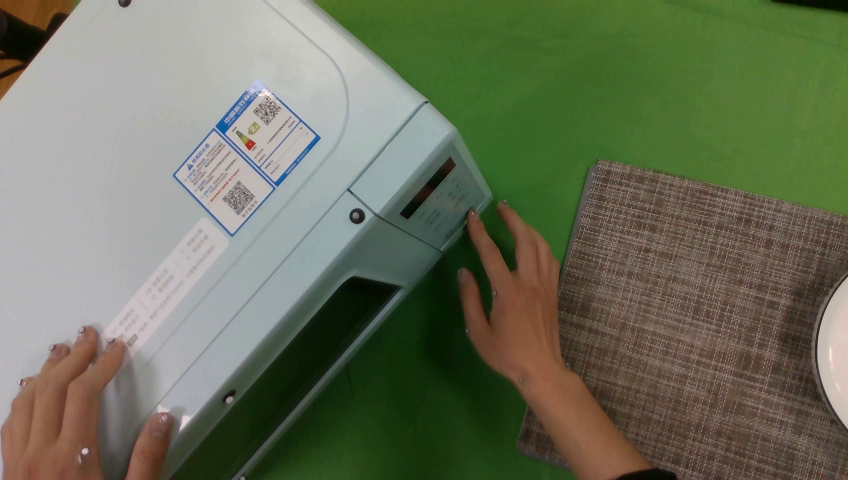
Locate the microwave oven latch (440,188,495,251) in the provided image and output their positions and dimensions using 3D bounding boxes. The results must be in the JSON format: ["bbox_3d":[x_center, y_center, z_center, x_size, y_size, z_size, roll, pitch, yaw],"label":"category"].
[{"bbox_3d":[0.037,-0.026,0.609,0.030,0.029,0.079,44,94,13],"label":"microwave oven latch"}]

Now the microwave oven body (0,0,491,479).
[{"bbox_3d":[-0.208,-0.003,0.561,0.324,0.261,0.442,42,94,14],"label":"microwave oven body"}]

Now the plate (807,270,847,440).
[{"bbox_3d":[0.440,0.103,0.519,0.207,0.039,0.207,-2,83,12],"label":"plate"}]

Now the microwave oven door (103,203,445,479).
[{"bbox_3d":[-0.133,0.123,0.524,0.039,0.245,0.356,42,93,15],"label":"microwave oven door"}]
